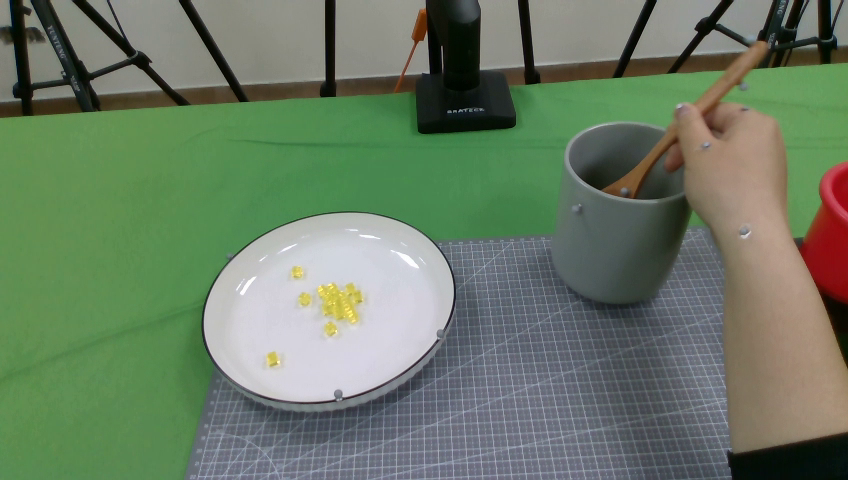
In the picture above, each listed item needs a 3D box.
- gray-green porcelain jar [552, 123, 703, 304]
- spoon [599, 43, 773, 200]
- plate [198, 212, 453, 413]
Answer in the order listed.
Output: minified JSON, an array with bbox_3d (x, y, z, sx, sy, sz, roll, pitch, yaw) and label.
[{"bbox_3d":[0.163,-0.017,0.509,0.106,0.128,0.105,-2,44,2],"label":"gray-green porcelain jar"},{"bbox_3d":[0.182,-0.068,0.458,0.022,0.194,0.041,15,36,-37],"label":"spoon"},{"bbox_3d":[-0.079,0.058,0.512,0.207,0.039,0.205,-1,44,2],"label":"plate"}]
